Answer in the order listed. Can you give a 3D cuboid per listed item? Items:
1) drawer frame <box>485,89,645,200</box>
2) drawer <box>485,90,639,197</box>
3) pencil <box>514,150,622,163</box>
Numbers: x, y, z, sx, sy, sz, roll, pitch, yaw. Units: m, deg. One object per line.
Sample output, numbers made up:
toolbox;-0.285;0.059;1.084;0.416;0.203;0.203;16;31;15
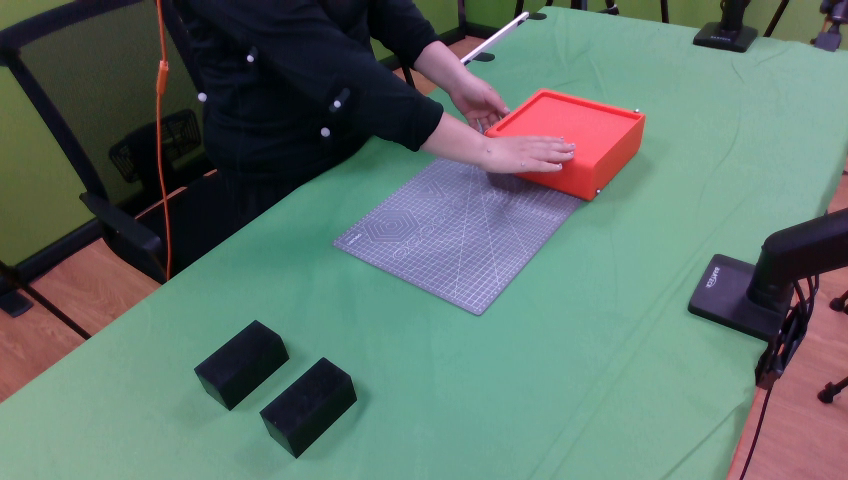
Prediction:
drawer frame;0.253;-0.179;1.094;0.212;0.083;0.202;24;48;30
drawer;0.249;-0.180;1.098;0.210;0.073;0.195;25;48;30
pencil;0.261;-0.150;1.100;0.194;0.012;0.012;-4;40;7
